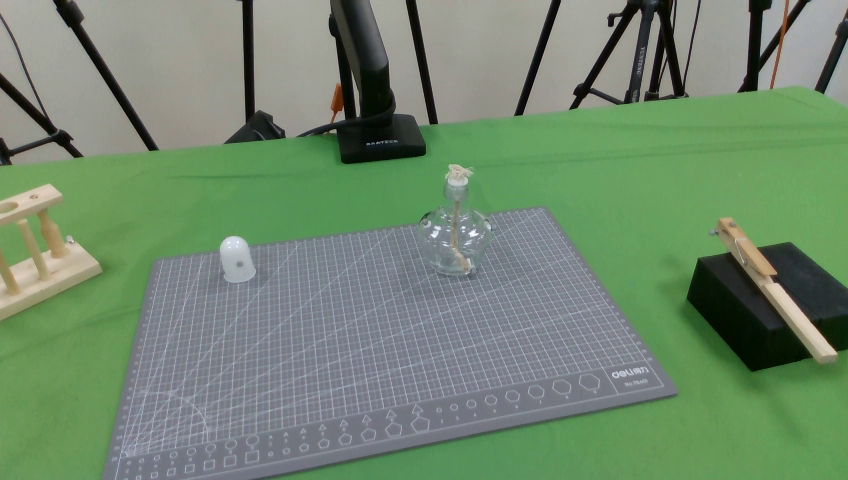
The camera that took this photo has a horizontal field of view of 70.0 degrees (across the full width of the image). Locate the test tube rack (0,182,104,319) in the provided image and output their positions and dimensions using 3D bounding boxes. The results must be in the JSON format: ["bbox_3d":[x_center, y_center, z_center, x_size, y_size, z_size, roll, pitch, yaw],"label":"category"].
[{"bbox_3d":[-0.446,0.038,0.566,0.066,0.086,0.242,28,45,34],"label":"test tube rack"}]

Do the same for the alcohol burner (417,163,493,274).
[{"bbox_3d":[0.032,-0.025,0.612,0.078,0.120,0.077,1,36,0],"label":"alcohol burner"}]

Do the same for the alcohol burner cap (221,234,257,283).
[{"bbox_3d":[-0.192,0.017,0.622,0.034,0.048,0.033,-1,36,1],"label":"alcohol burner cap"}]

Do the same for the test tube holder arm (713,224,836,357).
[{"bbox_3d":[0.297,0.035,0.525,0.015,0.013,0.176,-2,36,-2],"label":"test tube holder arm"}]

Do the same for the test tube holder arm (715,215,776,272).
[{"bbox_3d":[0.295,0.005,0.558,0.015,0.010,0.087,-2,36,-2],"label":"test tube holder arm"}]
